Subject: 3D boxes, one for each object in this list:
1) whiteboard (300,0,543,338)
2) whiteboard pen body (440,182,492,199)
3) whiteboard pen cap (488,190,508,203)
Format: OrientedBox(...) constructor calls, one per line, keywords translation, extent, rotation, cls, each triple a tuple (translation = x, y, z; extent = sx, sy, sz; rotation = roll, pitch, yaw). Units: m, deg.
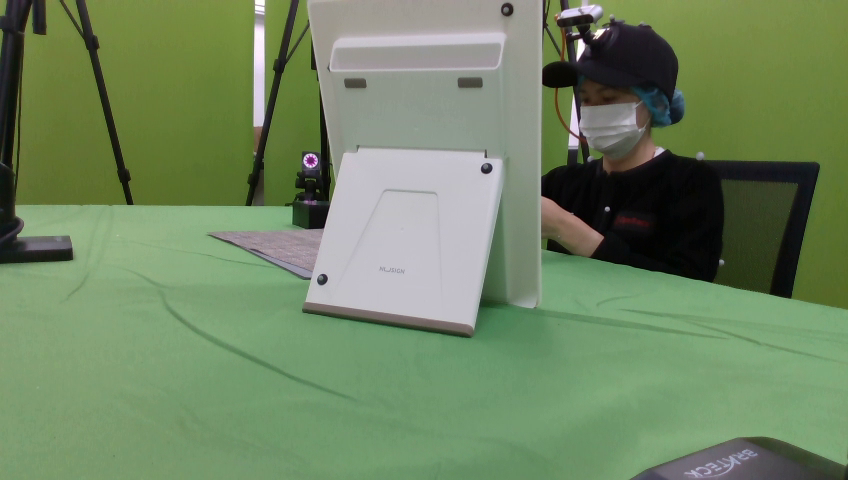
OrientedBox(translation=(-0.020, -0.050, 0.523), extent=(0.216, 0.305, 0.144), rotation=(6, 27, 22), cls="whiteboard")
OrientedBox(translation=(0.072, -0.086, 1.049), extent=(0.017, 0.017, 0.140), rotation=(-3, 13, -34), cls="whiteboard pen body")
OrientedBox(translation=(0.121, -0.072, 0.986), extent=(0.018, 0.018, 0.033), rotation=(-4, 19, -39), cls="whiteboard pen cap")
